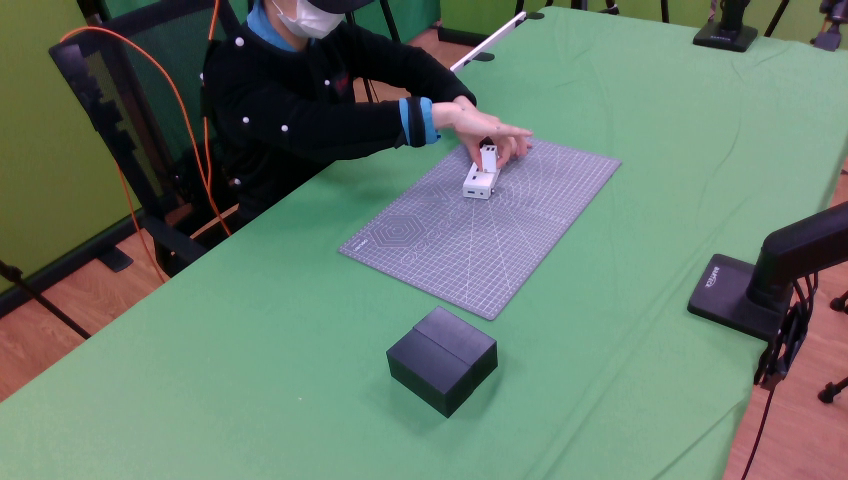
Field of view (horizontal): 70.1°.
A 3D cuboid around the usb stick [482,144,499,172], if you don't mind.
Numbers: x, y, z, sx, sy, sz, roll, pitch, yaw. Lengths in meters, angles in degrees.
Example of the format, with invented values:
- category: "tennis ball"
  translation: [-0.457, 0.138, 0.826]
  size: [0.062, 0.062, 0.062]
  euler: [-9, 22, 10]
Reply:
- category: "usb stick"
  translation: [0.117, -0.137, 1.059]
  size: [0.027, 0.059, 0.021]
  euler: [6, 44, 15]

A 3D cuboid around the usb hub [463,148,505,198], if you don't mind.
- category: "usb hub"
  translation: [0.109, -0.121, 1.087]
  size: [0.049, 0.025, 0.125]
  euler: [9, 43, 17]
